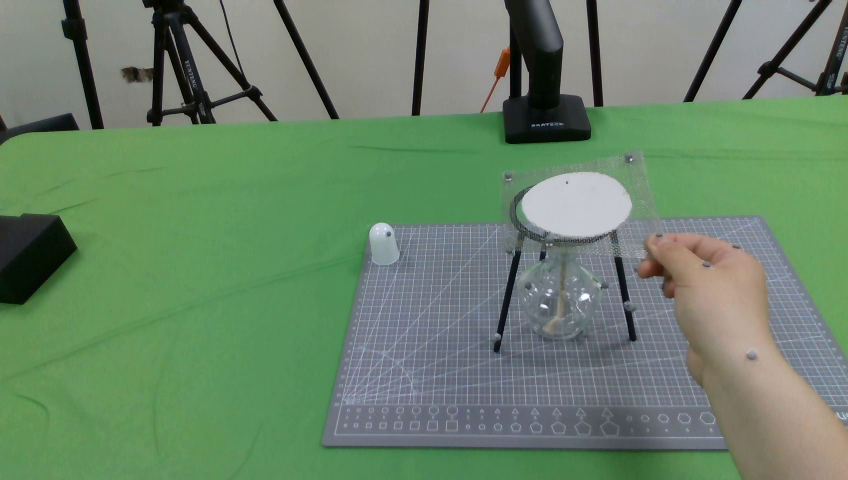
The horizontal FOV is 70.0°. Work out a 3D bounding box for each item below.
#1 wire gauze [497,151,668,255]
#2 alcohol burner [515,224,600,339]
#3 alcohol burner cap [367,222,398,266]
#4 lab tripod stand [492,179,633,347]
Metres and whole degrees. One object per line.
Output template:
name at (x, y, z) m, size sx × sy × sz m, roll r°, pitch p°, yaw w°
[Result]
wire gauze at (0.121, -0.030, 0.490) m, size 0.125 × 0.011 × 0.120 m, roll -4°, pitch 42°, yaw 11°
alcohol burner at (0.123, 0.033, 0.553) m, size 0.078 × 0.120 × 0.077 m, roll -2°, pitch 39°, yaw 2°
alcohol burner cap at (-0.047, 0.001, 0.669) m, size 0.034 × 0.048 × 0.033 m, roll -3°, pitch 40°, yaw 3°
lab tripod stand at (0.124, 0.023, 0.549) m, size 0.148 × 0.132 × 0.147 m, roll -2°, pitch 38°, yaw 2°
